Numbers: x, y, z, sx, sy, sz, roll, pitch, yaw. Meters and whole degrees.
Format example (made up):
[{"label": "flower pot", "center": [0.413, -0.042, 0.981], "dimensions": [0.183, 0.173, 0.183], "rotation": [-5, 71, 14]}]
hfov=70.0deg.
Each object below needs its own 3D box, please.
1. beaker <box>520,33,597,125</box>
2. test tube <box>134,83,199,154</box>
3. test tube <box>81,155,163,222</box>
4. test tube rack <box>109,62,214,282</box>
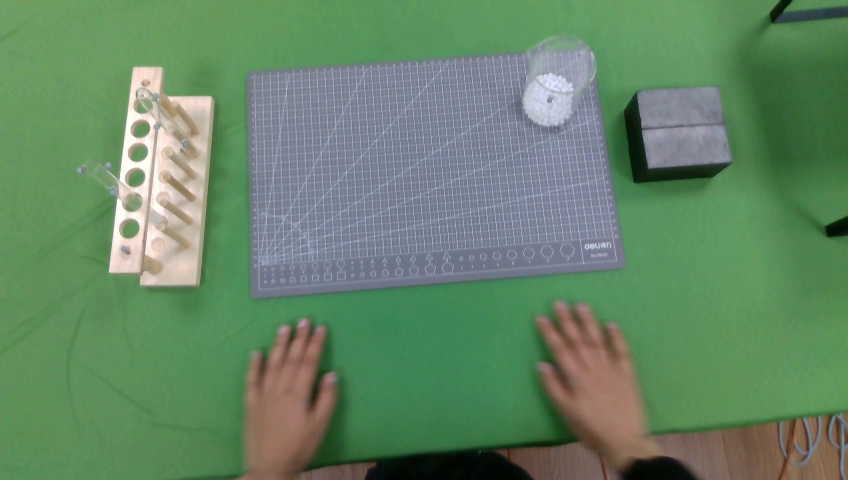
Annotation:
[{"label": "beaker", "center": [0.154, -0.190, 0.729], "dimensions": [0.084, 0.101, 0.074], "rotation": [26, 78, 8]}, {"label": "test tube", "center": [-0.285, -0.132, 0.677], "dimensions": [0.017, 0.151, 0.017], "rotation": [0, 74, 0]}, {"label": "test tube", "center": [-0.321, -0.051, 0.654], "dimensions": [0.017, 0.151, 0.017], "rotation": [-1, 71, 2]}, {"label": "test tube rack", "center": [-0.303, -0.077, 0.710], "dimensions": [0.067, 0.085, 0.241], "rotation": [0, 77, 0]}]
